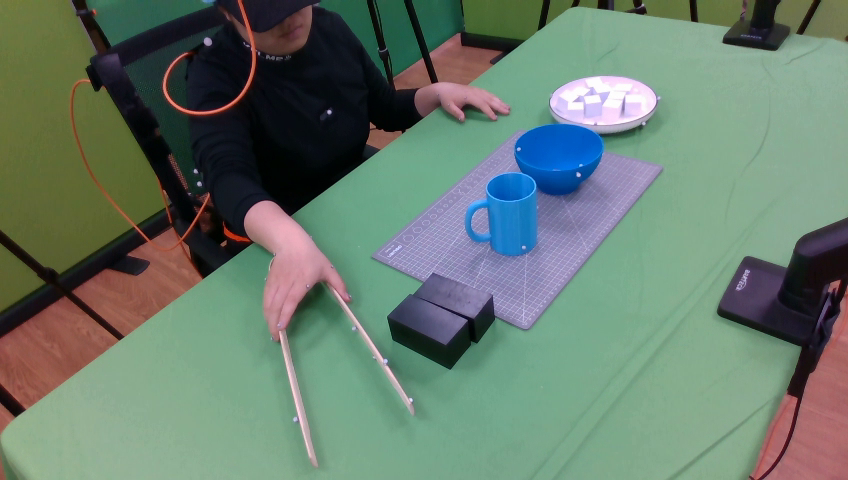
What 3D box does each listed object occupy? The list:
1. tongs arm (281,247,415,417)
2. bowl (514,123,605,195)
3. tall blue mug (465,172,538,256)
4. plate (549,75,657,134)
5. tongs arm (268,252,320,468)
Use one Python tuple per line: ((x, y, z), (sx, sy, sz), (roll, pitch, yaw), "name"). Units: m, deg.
((-0.122, 0.116, 0.857), (0.051, 0.027, 0.381), (-29, 43, -12), "tongs arm")
((0.232, -0.131, 1.045), (0.151, 0.077, 0.150), (-5, 40, 5), "bowl")
((0.125, -0.033, 0.925), (0.107, 0.108, 0.077), (-32, 46, -25), "tall blue mug")
((0.357, -0.269, 1.220), (0.209, 0.038, 0.208), (-5, 41, 5), "plate")
((-0.183, 0.145, 0.843), (0.028, 0.028, 0.384), (-25, 42, -3), "tongs arm")
